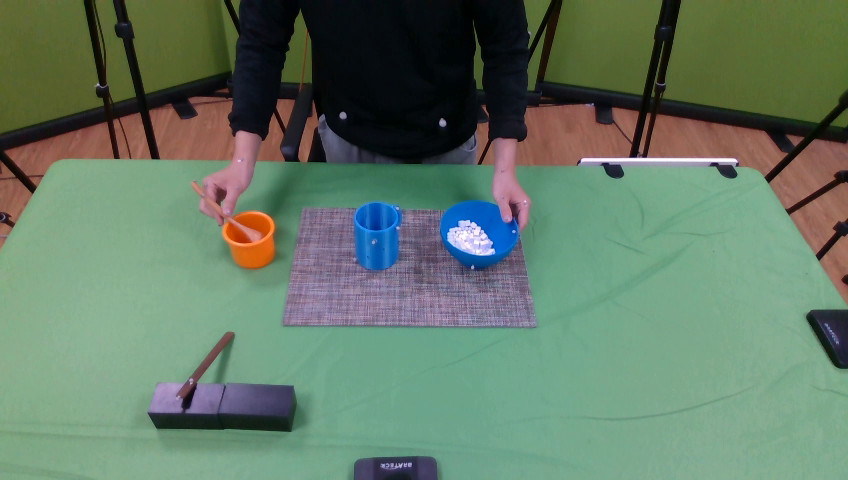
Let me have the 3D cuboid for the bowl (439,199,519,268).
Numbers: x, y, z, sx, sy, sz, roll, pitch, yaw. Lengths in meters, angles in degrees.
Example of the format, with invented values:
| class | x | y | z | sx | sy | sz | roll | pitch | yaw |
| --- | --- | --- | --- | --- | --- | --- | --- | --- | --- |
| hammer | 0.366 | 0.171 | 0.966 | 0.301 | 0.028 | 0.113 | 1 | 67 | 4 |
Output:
| class | x | y | z | sx | sy | sz | roll | pitch | yaw |
| --- | --- | --- | --- | --- | --- | --- | --- | --- | --- |
| bowl | 0.100 | 0.000 | 1.160 | 0.151 | 0.077 | 0.150 | 2 | 46 | -2 |

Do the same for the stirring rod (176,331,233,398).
| class | x | y | z | sx | sy | sz | roll | pitch | yaw |
| --- | --- | --- | --- | --- | --- | --- | --- | --- | --- |
| stirring rod | -0.342 | 0.192 | 0.955 | 0.014 | 0.006 | 0.175 | 3 | 24 | 7 |

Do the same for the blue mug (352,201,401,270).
| class | x | y | z | sx | sy | sz | roll | pitch | yaw |
| --- | --- | --- | --- | --- | --- | --- | --- | --- | --- |
| blue mug | -0.082 | -0.017 | 1.144 | 0.082 | 0.106 | 0.116 | 30 | 51 | 22 |

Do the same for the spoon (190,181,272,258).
| class | x | y | z | sx | sy | sz | roll | pitch | yaw |
| --- | --- | --- | --- | --- | --- | --- | --- | --- | --- |
| spoon | -0.353 | -0.037 | 1.111 | 0.194 | 0.021 | 0.041 | 42 | 40 | -20 |
